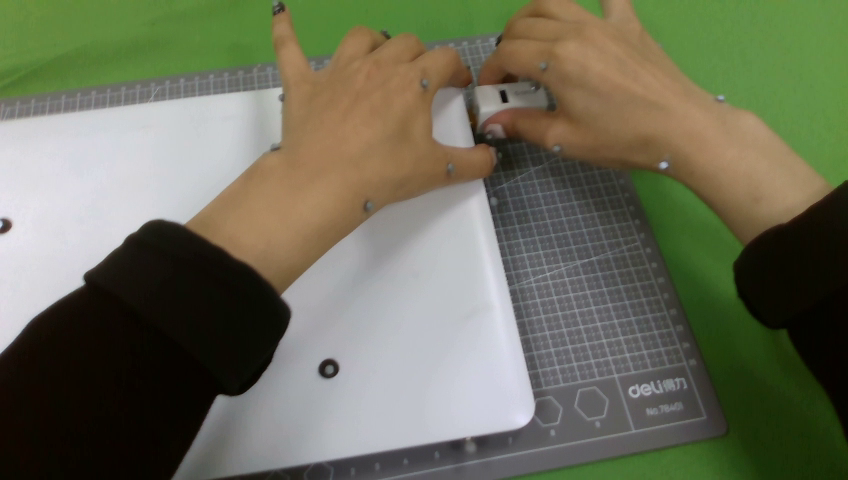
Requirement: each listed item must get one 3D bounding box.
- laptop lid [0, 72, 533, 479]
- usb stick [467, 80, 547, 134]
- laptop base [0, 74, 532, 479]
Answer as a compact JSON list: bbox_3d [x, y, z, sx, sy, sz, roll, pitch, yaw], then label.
[{"bbox_3d":[-0.133,0.015,0.338,0.357,0.013,0.239,-6,66,-4],"label":"laptop lid"},{"bbox_3d":[0.047,-0.085,0.390,0.059,0.027,0.021,-9,66,-4],"label":"usb stick"},{"bbox_3d":[-0.134,0.018,0.350,0.355,0.023,0.233,-8,67,-5],"label":"laptop base"}]
